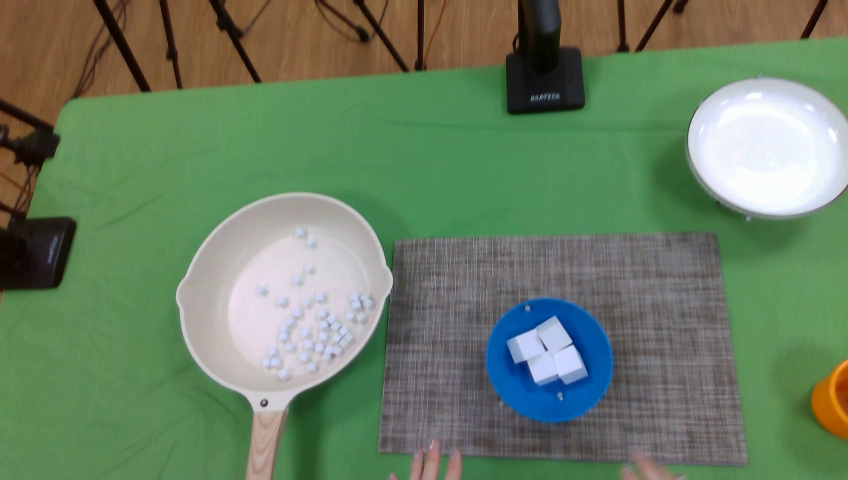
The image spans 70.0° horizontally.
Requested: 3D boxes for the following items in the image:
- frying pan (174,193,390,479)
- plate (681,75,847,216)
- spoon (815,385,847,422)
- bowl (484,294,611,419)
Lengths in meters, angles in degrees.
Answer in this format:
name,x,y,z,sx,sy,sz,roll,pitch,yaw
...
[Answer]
name,x,y,z,sx,sy,sz,roll,pitch,yaw
frying pan,-0.196,0.164,0.800,0.306,0.104,0.483,-3,58,9
plate,0.449,-0.122,0.803,0.207,0.039,0.206,-3,68,8
spoon,0.530,0.161,0.660,0.022,0.194,0.041,8,59,-35
bowl,0.152,0.152,0.759,0.151,0.077,0.150,-3,66,8
